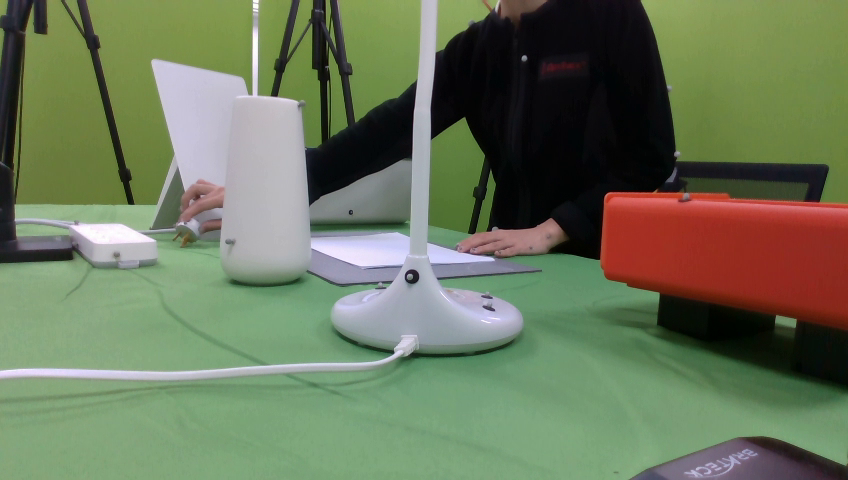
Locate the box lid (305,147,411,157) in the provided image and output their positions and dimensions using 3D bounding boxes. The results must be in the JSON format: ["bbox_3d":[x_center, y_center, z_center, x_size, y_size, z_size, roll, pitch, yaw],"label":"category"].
[{"bbox_3d":[-0.229,-0.200,1.361,0.373,0.015,0.262,-2,9,-33],"label":"box lid"}]

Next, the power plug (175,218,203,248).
[{"bbox_3d":[-0.354,-0.003,0.903,0.035,0.072,0.052,36,46,-11],"label":"power plug"}]

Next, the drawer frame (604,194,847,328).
[{"bbox_3d":[0.297,0.007,0.497,0.203,0.082,0.212,-1,7,-34],"label":"drawer frame"}]

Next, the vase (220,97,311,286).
[{"bbox_3d":[-0.172,-0.052,0.662,0.098,0.200,0.098,3,8,0],"label":"vase"}]

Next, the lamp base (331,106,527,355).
[{"bbox_3d":[0.006,-0.012,0.478,0.161,0.180,0.179,2,10,2],"label":"lamp base"}]

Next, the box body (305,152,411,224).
[{"bbox_3d":[-0.230,-0.126,1.371,0.366,0.160,0.253,-2,9,-33],"label":"box body"}]

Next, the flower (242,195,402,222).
[{"bbox_3d":[-0.231,-0.064,1.373,0.362,0.038,0.044,6,40,-2],"label":"flower"}]

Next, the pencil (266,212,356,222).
[{"bbox_3d":[-0.244,-0.049,1.319,0.195,0.012,0.012,4,7,-12],"label":"pencil"}]

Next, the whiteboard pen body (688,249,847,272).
[{"bbox_3d":[0.304,0.017,0.521,0.140,0.017,0.017,2,7,27],"label":"whiteboard pen body"}]

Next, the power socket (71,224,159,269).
[{"bbox_3d":[-0.409,0.004,0.792,0.072,0.032,0.225,-2,8,-37],"label":"power socket"}]

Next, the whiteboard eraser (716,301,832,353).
[{"bbox_3d":[0.256,0.042,0.472,0.112,0.042,0.056,43,20,31],"label":"whiteboard eraser"}]

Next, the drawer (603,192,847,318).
[{"bbox_3d":[0.293,0.003,0.500,0.195,0.073,0.210,-1,8,-34],"label":"drawer"}]

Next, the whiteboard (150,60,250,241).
[{"bbox_3d":[-0.408,-0.139,1.093,0.143,0.305,0.218,-15,-1,27],"label":"whiteboard"}]

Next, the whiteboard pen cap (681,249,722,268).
[{"bbox_3d":[0.250,0.017,0.544,0.033,0.018,0.018,2,7,25],"label":"whiteboard pen cap"}]
